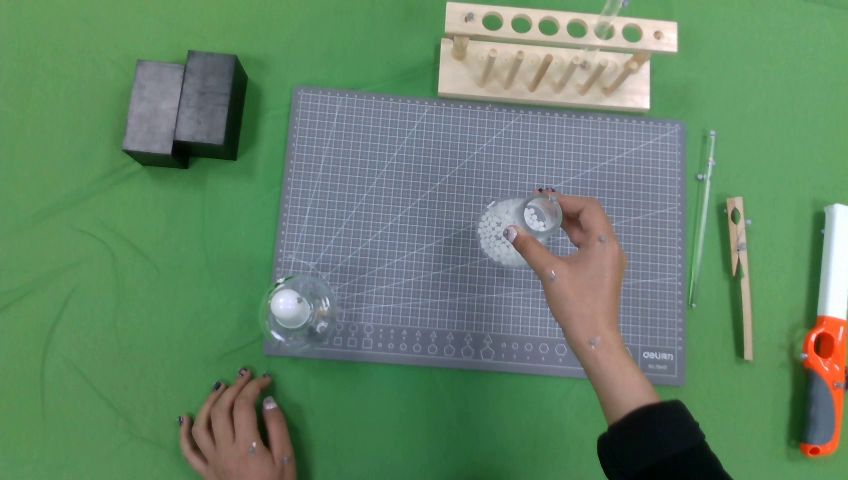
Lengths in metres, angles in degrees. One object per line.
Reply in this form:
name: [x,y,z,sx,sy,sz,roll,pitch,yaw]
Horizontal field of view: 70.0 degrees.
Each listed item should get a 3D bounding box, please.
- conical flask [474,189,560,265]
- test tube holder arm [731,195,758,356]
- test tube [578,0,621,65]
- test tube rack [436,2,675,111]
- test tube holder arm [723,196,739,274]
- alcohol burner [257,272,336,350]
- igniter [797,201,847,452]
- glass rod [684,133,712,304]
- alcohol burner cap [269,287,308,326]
conical flask: [0.092,-0.017,0.573,0.075,0.122,0.075,1,84,-5]
test tube holder arm: [0.352,0.038,0.668,0.013,0.015,0.177,-10,79,33]
test tube: [0.182,-0.221,0.620,0.017,0.151,0.017,0,77,1]
test tube rack: [0.138,-0.198,0.664,0.242,0.085,0.066,4,80,-2]
test tube holder arm: [0.345,-0.006,0.678,0.010,0.015,0.087,-8,79,33]
alcohol burner: [-0.126,0.067,0.587,0.078,0.119,0.077,0,79,-1]
igniter: [0.440,0.092,0.661,0.057,0.025,0.275,14,80,-11]
glass rod: [0.309,-0.026,0.683,0.008,0.008,0.199,11,82,-1]
alcohol burner cap: [-0.125,0.059,0.552,0.034,0.048,0.033,1,71,-3]
